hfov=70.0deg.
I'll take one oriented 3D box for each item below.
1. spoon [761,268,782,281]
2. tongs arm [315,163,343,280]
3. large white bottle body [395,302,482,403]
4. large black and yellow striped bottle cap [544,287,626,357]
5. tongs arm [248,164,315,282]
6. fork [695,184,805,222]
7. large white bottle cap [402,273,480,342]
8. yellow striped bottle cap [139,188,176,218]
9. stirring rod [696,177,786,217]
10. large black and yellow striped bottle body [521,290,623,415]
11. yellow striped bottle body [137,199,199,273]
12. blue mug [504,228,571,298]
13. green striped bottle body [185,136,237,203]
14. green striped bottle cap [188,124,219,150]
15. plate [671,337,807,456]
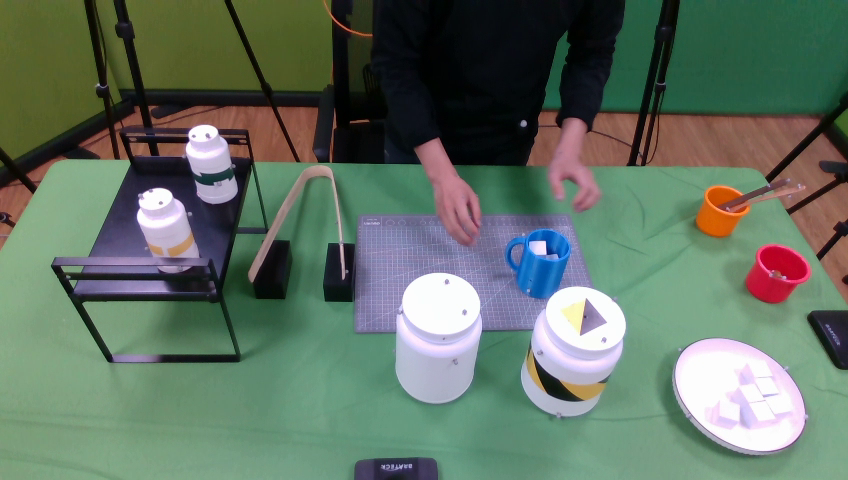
[{"bbox_3d":[0.638,0.060,1.105,0.041,0.021,0.194,38,11,24],"label":"spoon"},{"bbox_3d":[-0.187,-0.049,1.170,0.051,0.026,0.382,-5,35,-6],"label":"tongs arm"},{"bbox_3d":[0.020,0.153,0.939,0.131,0.185,0.130,2,46,-2],"label":"large white bottle body"},{"bbox_3d":[0.232,0.116,0.876,0.115,0.019,0.114,2,46,-1],"label":"large black and yellow striped bottle cap"},{"bbox_3d":[-0.269,-0.048,1.165,0.028,0.028,0.385,0,34,7],"label":"tongs arm"},{"bbox_3d":[0.657,-0.074,1.229,0.207,0.019,0.028,-24,33,36],"label":"fork"},{"bbox_3d":[0.024,0.095,0.878,0.115,0.018,0.114,2,47,-2],"label":"large white bottle cap"},{"bbox_3d":[-0.363,-0.050,0.826,0.044,0.019,0.044,1,47,0],"label":"yellow striped bottle cap"},{"bbox_3d":[0.647,-0.087,1.244,0.176,0.006,0.014,-26,51,29],"label":"stirring rod"},{"bbox_3d":[0.228,0.173,0.938,0.131,0.185,0.130,2,47,-2],"label":"large black and yellow striped bottle body"},{"bbox_3d":[-0.366,-0.014,0.863,0.063,0.121,0.062,2,46,-2],"label":"yellow striped bottle body"},{"bbox_3d":[0.202,0.036,1.116,0.116,0.106,0.082,22,49,16],"label":"blue mug"},{"bbox_3d":[-0.341,-0.121,0.969,0.063,0.120,0.063,2,46,-2],"label":"green striped bottle body"},{"bbox_3d":[-0.339,-0.158,0.931,0.044,0.020,0.044,3,47,-3],"label":"green striped bottle cap"},{"bbox_3d":[0.503,0.254,0.984,0.208,0.039,0.206,2,46,-2],"label":"plate"}]
